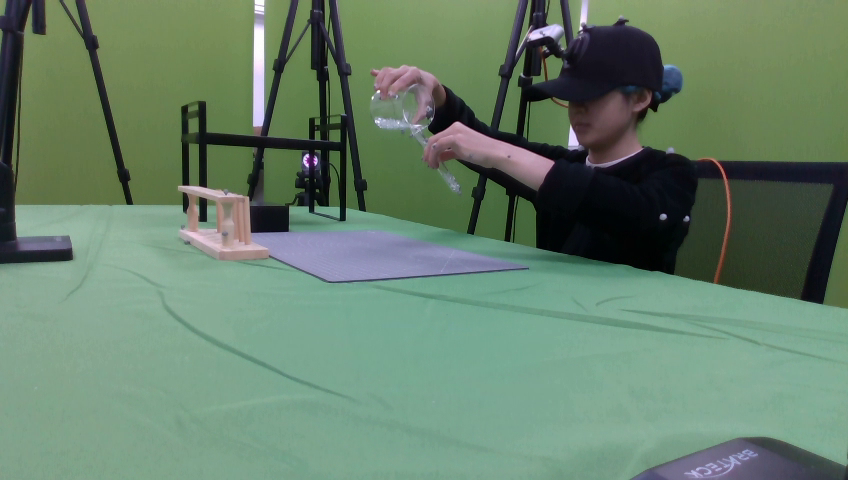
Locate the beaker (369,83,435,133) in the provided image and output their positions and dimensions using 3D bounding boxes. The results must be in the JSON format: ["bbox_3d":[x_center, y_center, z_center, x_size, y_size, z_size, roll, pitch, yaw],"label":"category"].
[{"bbox_3d":[-0.041,-0.226,1.047,0.074,0.084,0.100,4,4,-43],"label":"beaker"}]

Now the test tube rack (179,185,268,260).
[{"bbox_3d":[-0.303,-0.031,0.898,0.067,0.085,0.241,-2,9,-33],"label":"test tube rack"}]

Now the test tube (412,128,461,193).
[{"bbox_3d":[0.020,-0.130,0.978,0.017,0.017,0.149,-3,49,-39],"label":"test tube"}]
